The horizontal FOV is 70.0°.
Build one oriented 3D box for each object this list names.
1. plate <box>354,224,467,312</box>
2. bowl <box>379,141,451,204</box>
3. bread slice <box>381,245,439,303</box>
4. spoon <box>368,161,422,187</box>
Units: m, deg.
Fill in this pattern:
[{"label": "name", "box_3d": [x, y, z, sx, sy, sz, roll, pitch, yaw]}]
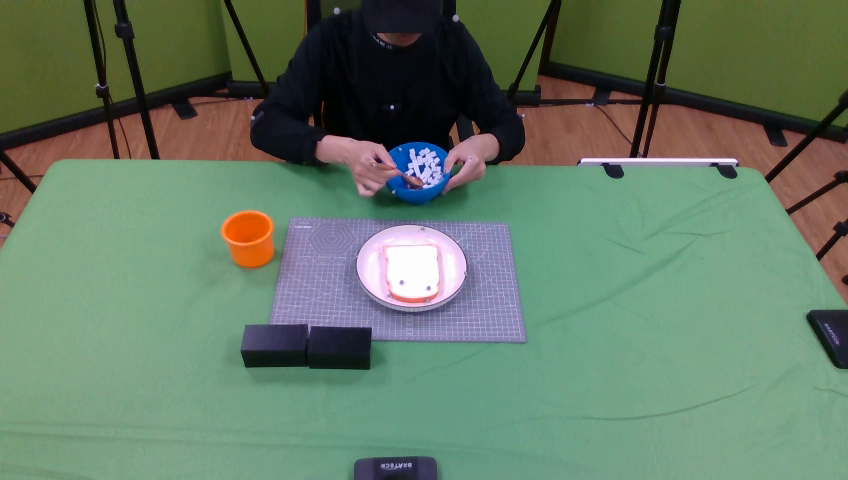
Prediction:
[{"label": "plate", "box_3d": [-0.025, 0.055, 1.128, 0.209, 0.038, 0.208, 3, 46, -2]}, {"label": "bowl", "box_3d": [-0.017, -0.130, 1.278, 0.151, 0.077, 0.150, -2, 50, 2]}, {"label": "bread slice", "box_3d": [-0.022, 0.061, 1.126, 0.107, 0.018, 0.133, -3, 45, -8]}, {"label": "spoon", "box_3d": [-0.058, -0.136, 1.219, 0.041, 0.194, 0.021, 38, 99, 27]}]
